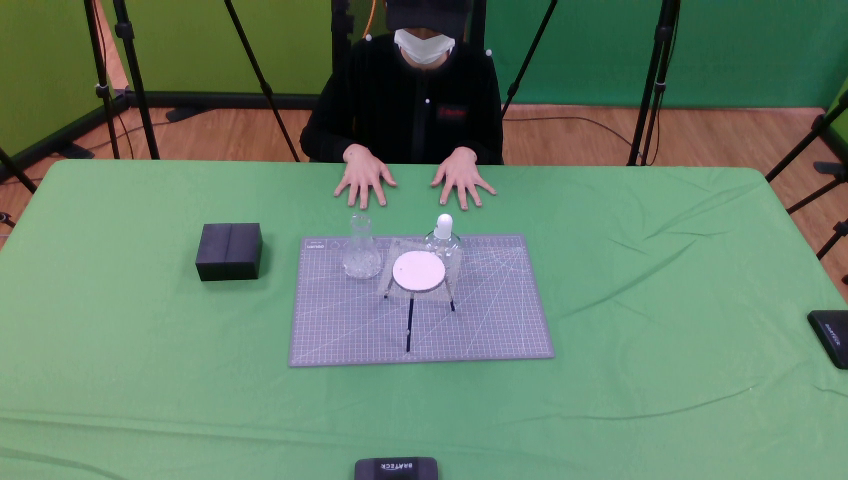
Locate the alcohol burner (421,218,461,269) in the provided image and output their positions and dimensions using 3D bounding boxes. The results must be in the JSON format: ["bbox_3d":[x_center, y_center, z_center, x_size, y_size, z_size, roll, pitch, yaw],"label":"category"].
[{"bbox_3d":[0.033,-0.001,1.135,0.078,0.119,0.077,3,48,-3],"label":"alcohol burner"}]

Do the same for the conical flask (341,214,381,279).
[{"bbox_3d":[-0.116,0.009,1.107,0.075,0.122,0.075,2,46,-2],"label":"conical flask"}]

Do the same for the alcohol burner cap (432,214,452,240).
[{"bbox_3d":[0.035,-0.027,1.110,0.034,0.048,0.033,7,42,-6],"label":"alcohol burner cap"}]

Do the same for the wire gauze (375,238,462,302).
[{"bbox_3d":[-0.006,0.048,0.977,0.121,0.011,0.124,9,45,5],"label":"wire gauze"}]

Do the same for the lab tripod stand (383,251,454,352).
[{"bbox_3d":[-0.015,0.094,1.025,0.148,0.132,0.147,1,46,-1],"label":"lab tripod stand"}]
